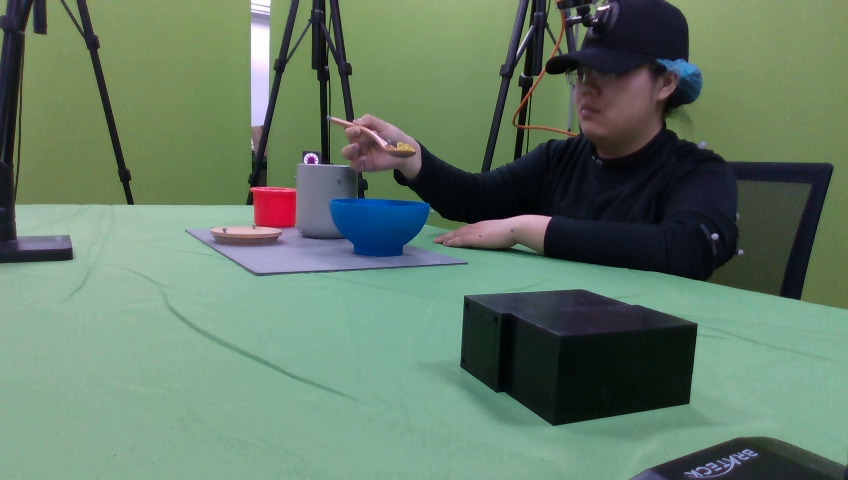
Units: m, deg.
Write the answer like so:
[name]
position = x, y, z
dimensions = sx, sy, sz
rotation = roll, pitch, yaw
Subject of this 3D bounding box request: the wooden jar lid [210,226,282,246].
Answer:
[wooden jar lid]
position = -0.279, -0.007, 0.951
dimensions = 0.108, 0.020, 0.108
rotation = 2, 8, 0

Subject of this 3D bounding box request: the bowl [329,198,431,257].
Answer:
[bowl]
position = -0.067, -0.019, 0.894
dimensions = 0.151, 0.077, 0.151
rotation = 3, 7, 0

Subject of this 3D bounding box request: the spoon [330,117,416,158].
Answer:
[spoon]
position = -0.084, -0.161, 0.934
dimensions = 0.193, 0.021, 0.042
rotation = 34, 22, 37

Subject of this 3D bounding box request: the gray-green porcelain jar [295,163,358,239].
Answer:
[gray-green porcelain jar]
position = -0.170, -0.069, 1.054
dimensions = 0.106, 0.126, 0.106
rotation = 3, 7, 0
